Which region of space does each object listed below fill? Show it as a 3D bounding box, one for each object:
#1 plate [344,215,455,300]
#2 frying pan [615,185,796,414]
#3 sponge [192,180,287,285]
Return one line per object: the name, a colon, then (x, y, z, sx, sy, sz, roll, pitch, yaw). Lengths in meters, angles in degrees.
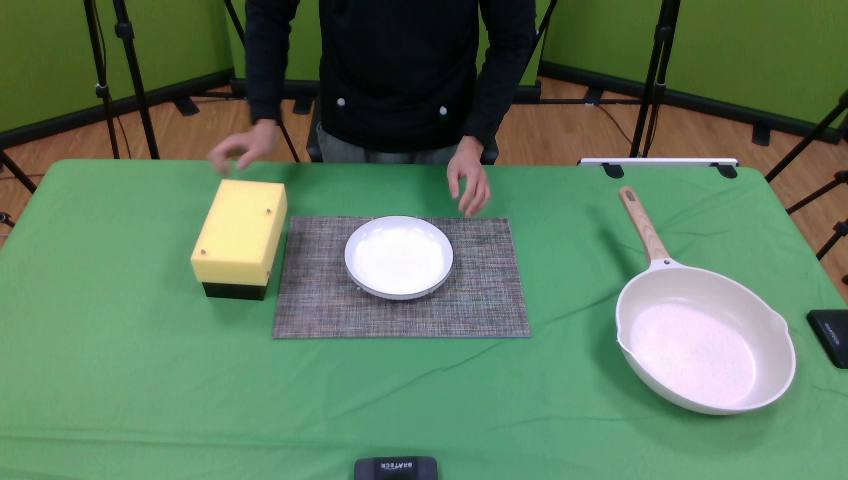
plate: (-0.045, 0.036, 1.146, 0.208, 0.039, 0.206, 2, 46, -2)
frying pan: (0.449, 0.087, 1.092, 0.307, 0.103, 0.484, -4, 55, -10)
sponge: (-0.327, -0.018, 1.096, 0.118, 0.061, 0.205, 3, 46, -1)
